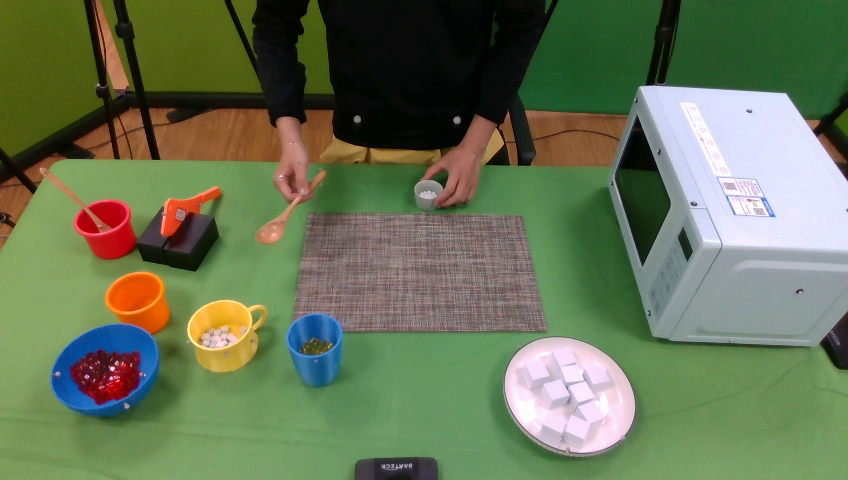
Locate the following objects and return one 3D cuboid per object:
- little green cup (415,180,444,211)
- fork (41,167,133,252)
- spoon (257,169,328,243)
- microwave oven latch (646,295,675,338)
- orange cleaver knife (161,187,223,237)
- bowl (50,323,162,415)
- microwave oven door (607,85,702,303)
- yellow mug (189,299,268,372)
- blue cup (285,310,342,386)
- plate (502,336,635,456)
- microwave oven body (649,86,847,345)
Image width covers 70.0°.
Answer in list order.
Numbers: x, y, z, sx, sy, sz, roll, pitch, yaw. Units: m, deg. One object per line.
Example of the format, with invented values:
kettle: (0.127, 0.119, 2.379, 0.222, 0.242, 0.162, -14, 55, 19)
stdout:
little green cup: (0.010, -0.093, 1.278, 0.061, 0.039, 0.061, 3, 48, -3)
fork: (-0.624, -0.056, 1.121, 0.208, 0.018, 0.028, 49, 52, -15)
spoon: (-0.236, -0.064, 1.114, 0.041, 0.022, 0.193, 28, 66, 18)
microwave oven latch: (0.412, 0.134, 1.061, 0.030, 0.029, 0.078, 3, 45, 1)
orange cleaver knife: (-0.448, -0.058, 1.181, 0.012, 0.077, 0.211, 13, 17, 6)
bowl: (-0.472, 0.209, 0.924, 0.151, 0.077, 0.150, 2, 45, -2)
microwave oven door: (0.423, -0.094, 1.141, 0.039, 0.245, 0.353, 2, 46, -1)
yellow mug: (-0.316, 0.148, 1.002, 0.131, 0.064, 0.099, -32, 56, -31)
blue cup: (-0.170, 0.179, 0.958, 0.093, 0.101, 0.092, 2, 44, -1)
plate: (0.225, 0.248, 0.963, 0.208, 0.039, 0.206, 2, 46, -2)
microwave oven body: (0.568, -0.053, 1.118, 0.326, 0.261, 0.439, 2, 45, -1)
